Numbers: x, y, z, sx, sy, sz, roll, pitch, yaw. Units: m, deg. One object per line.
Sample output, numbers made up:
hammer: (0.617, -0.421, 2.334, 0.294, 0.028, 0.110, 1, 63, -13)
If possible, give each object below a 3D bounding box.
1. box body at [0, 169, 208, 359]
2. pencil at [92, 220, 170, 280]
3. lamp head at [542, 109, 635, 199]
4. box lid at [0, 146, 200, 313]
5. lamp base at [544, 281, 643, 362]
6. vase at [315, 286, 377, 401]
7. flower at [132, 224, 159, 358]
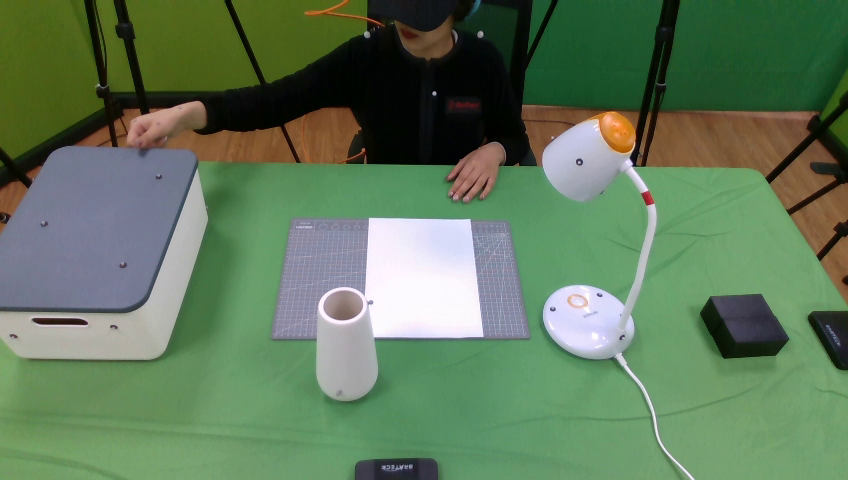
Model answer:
box body: (-0.541, 0.021, 1.042, 0.254, 0.161, 0.361, 1, 46, -3)
pencil: (-0.552, 0.015, 1.153, 0.012, 0.012, 0.193, 20, 42, 15)
lamp head: (0.253, -0.131, 0.893, 0.113, 0.123, 0.112, 10, 66, -24)
box lid: (-0.536, -0.034, 0.989, 0.263, 0.015, 0.369, 1, 46, -3)
lamp base: (0.304, 0.095, 1.014, 0.161, 0.181, 0.178, -24, 54, -24)
vase: (-0.119, 0.159, 0.911, 0.098, 0.201, 0.097, 2, 47, -2)
flower: (-0.505, 0.073, 1.095, 0.044, 0.038, 0.359, -40, 42, 9)
